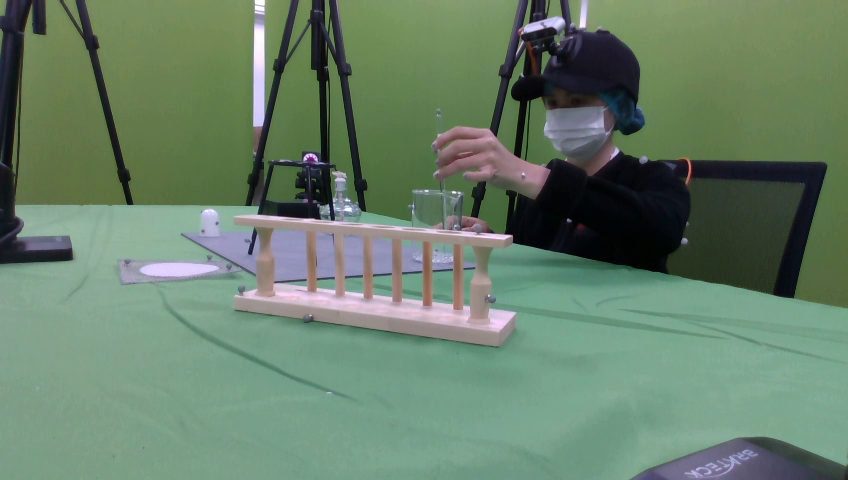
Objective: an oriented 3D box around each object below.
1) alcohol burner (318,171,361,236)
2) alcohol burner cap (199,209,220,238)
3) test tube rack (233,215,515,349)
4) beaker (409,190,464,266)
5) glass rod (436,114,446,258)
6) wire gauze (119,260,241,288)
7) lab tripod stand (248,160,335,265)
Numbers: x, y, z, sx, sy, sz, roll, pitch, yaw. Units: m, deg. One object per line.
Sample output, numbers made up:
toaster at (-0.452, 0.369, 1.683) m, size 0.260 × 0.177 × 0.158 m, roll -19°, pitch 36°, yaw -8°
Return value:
alcohol burner at (-0.155, -0.067, 1.104) m, size 0.078 × 0.119 × 0.078 m, roll 1°, pitch 8°, yaw 0°
alcohol burner cap at (-0.356, -0.027, 1.002) m, size 0.034 × 0.048 × 0.034 m, roll 2°, pitch 7°, yaw 0°
test tube rack at (-0.045, 0.029, 0.526) m, size 0.241 × 0.085 × 0.067 m, roll 5°, pitch 8°, yaw 19°
beaker at (0.018, -0.017, 0.840) m, size 0.074 × 0.100 × 0.083 m, roll -3°, pitch 10°, yaw -35°
glass rod at (0.024, -0.072, 0.833) m, size 0.008 × 0.199 × 0.008 m, roll -3°, pitch 12°, yaw 1°
wire gauze at (-0.288, 0.034, 0.706) m, size 0.122 × 0.011 × 0.124 m, roll -3°, pitch 10°, yaw -29°
lab tripod stand at (-0.165, -0.041, 0.817) m, size 0.148 × 0.131 × 0.148 m, roll 5°, pitch 7°, yaw 0°
